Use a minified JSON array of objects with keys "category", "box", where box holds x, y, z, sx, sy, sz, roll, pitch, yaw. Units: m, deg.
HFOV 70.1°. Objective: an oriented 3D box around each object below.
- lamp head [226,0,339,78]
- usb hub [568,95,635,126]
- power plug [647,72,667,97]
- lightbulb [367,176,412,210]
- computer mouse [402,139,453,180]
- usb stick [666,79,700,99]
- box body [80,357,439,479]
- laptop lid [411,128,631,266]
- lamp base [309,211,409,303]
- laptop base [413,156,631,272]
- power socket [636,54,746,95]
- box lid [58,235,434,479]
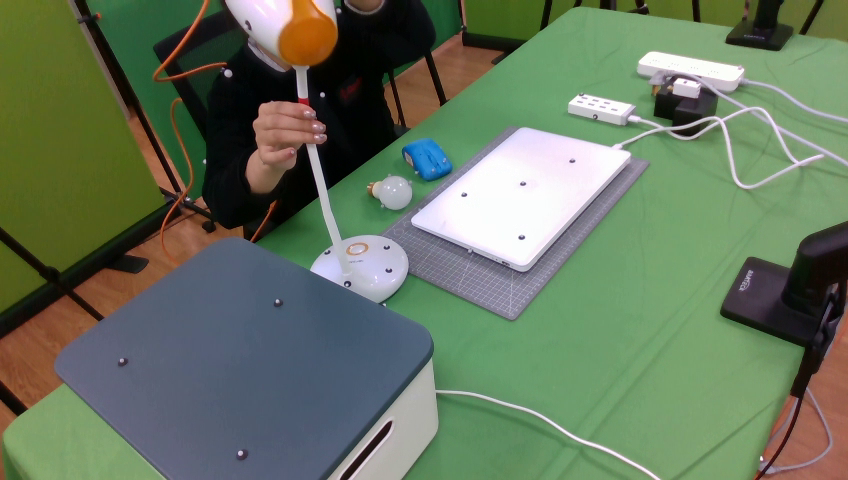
[{"category":"lamp head","box":[-0.145,-0.241,0.663,0.113,0.112,0.122,-23,66,-16]},{"category":"usb hub","box":[0.360,-0.264,1.229,0.124,0.025,0.049,24,49,33]},{"category":"power plug","box":[0.494,-0.321,1.261,0.073,0.052,0.035,1,20,-40]},{"category":"lightbulb","box":[-0.066,-0.086,1.084,0.060,0.060,0.107,-38,32,-30]},{"category":"computer mouse","box":[0.005,-0.159,1.166,0.063,0.041,0.116,-21,45,-17]},{"category":"usb stick","box":[0.492,-0.288,1.152,0.058,0.027,0.021,20,50,34]},{"category":"box body","box":[-0.189,0.178,0.703,0.361,0.161,0.255,22,49,32]},{"category":"laptop lid","box":[0.172,-0.093,1.049,0.239,0.013,0.358,24,50,36]},{"category":"lamp base","box":[-0.112,-0.002,0.887,0.161,0.181,0.178,-12,43,-1]},{"category":"laptop base","box":[0.176,-0.083,1.056,0.233,0.023,0.355,21,48,36]},{"category":"power socket","box":[0.564,-0.357,1.293,0.225,0.033,0.072,24,51,33]},{"category":"box lid","box":[-0.198,0.123,0.653,0.368,0.015,0.264,22,49,32]}]
